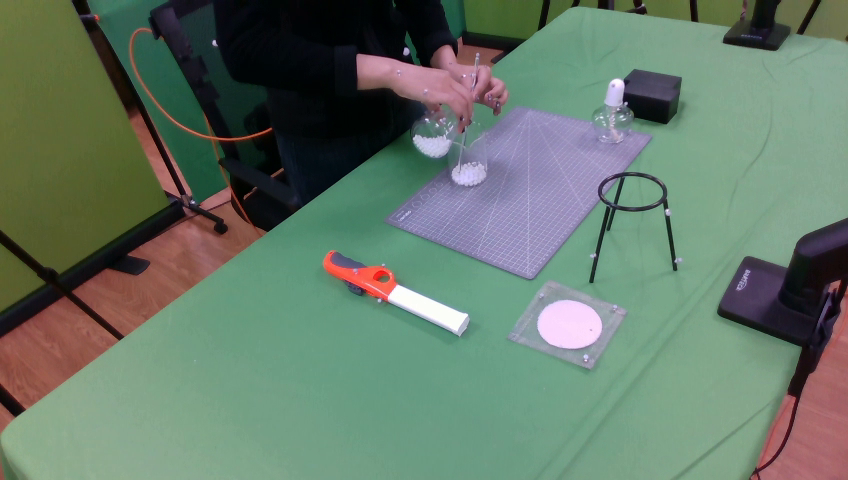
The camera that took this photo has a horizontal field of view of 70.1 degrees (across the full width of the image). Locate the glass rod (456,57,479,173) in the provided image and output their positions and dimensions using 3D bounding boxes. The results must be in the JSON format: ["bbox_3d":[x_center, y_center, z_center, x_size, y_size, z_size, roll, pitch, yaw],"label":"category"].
[{"bbox_3d":[0.075,-0.216,1.053,0.008,0.199,0.008,9,13,-2],"label":"glass rod"}]

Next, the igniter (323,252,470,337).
[{"bbox_3d":[-0.052,0.075,0.901,0.274,0.025,0.057,22,60,32],"label":"igniter"}]

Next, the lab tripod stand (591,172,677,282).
[{"bbox_3d":[0.292,-0.022,0.867,0.148,0.132,0.147,-7,39,6],"label":"lab tripod stand"}]

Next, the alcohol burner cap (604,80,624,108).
[{"bbox_3d":[0.350,-0.269,1.102,0.034,0.048,0.033,-2,46,2],"label":"alcohol burner cap"}]

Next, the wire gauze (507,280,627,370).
[{"bbox_3d":[0.196,0.114,0.823,0.120,0.011,0.125,20,50,31],"label":"wire gauze"}]

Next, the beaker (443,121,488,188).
[{"bbox_3d":[0.078,-0.150,1.083,0.074,0.101,0.083,-9,40,1],"label":"beaker"}]

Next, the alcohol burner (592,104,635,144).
[{"bbox_3d":[0.353,-0.242,1.126,0.078,0.119,0.077,-5,38,5],"label":"alcohol burner"}]

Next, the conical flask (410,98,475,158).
[{"bbox_3d":[0.038,-0.194,1.002,0.075,0.075,0.122,19,44,29],"label":"conical flask"}]
